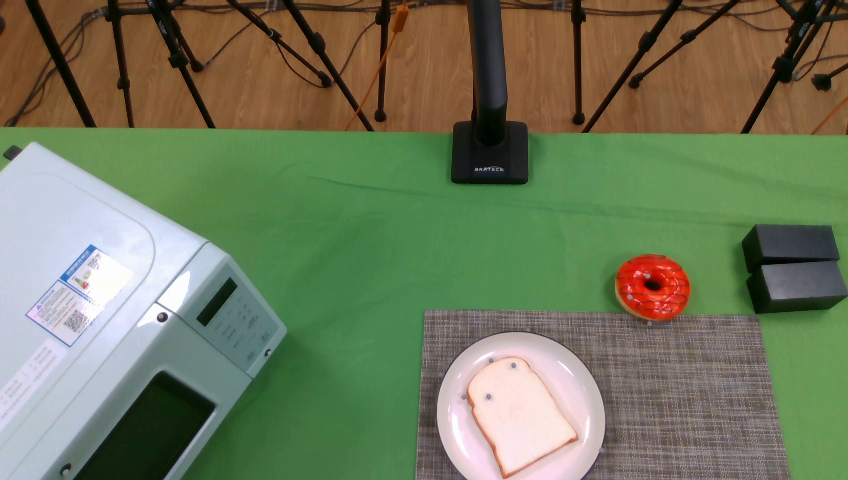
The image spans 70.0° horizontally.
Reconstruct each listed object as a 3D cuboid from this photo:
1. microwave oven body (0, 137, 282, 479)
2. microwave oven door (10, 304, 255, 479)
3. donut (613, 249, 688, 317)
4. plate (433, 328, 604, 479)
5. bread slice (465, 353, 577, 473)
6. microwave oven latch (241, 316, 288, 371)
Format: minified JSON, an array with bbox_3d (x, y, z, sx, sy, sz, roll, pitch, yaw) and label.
[{"bbox_3d":[-0.439,0.162,0.695,0.324,0.262,0.440,27,68,16],"label":"microwave oven body"},{"bbox_3d":[-0.335,0.255,0.635,0.039,0.246,0.354,26,68,17],"label":"microwave oven door"},{"bbox_3d":[0.308,0.058,0.823,0.099,0.049,0.098,-3,59,6],"label":"donut"},{"bbox_3d":[0.115,0.214,0.757,0.207,0.039,0.206,-1,63,3],"label":"plate"},{"bbox_3d":[0.113,0.208,0.761,0.105,0.019,0.130,-26,65,-10],"label":"bread slice"},{"bbox_3d":[-0.214,0.132,0.804,0.030,0.030,0.079,29,69,17],"label":"microwave oven latch"}]
